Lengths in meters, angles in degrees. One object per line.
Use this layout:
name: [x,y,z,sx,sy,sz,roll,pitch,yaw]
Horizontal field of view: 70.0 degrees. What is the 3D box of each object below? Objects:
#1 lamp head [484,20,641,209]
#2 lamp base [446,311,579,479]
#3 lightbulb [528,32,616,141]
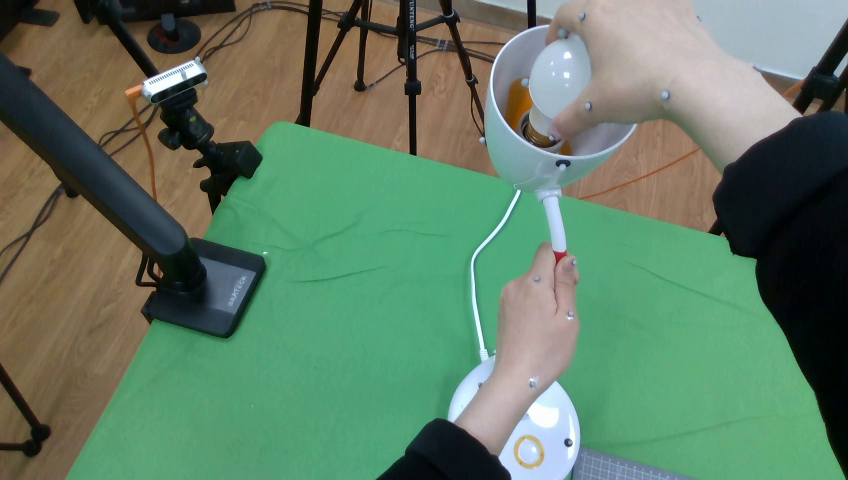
lamp head: [0.098,-0.088,0.481,0.112,0.123,0.111,2,66,-4]
lamp base: [0.106,0.166,0.668,0.161,0.181,0.177,-22,61,-17]
lightbulb: [0.102,-0.108,0.452,0.059,0.108,0.059,3,69,-7]
